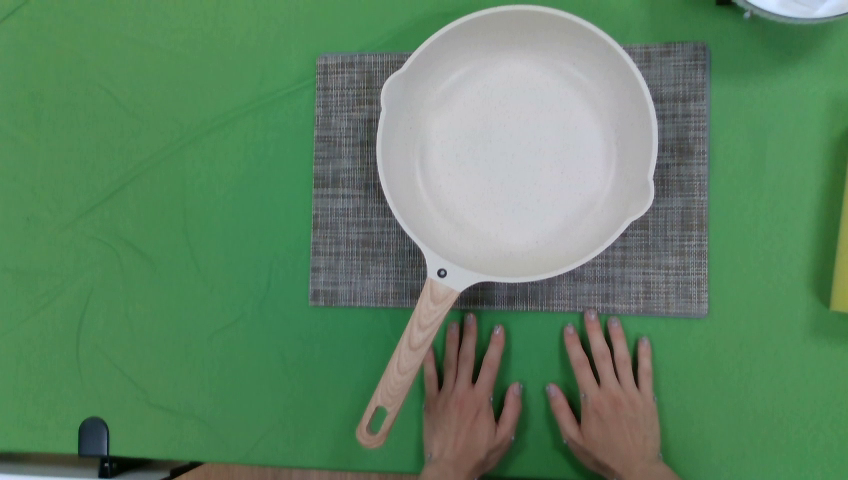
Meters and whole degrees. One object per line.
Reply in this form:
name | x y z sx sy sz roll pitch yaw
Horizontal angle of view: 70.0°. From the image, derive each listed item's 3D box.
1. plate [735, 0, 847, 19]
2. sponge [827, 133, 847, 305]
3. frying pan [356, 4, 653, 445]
plate | 0.374 -0.319 0.606 0.207 0.039 0.207 0 87 7
sponge | 0.494 -0.028 0.610 0.118 0.061 0.206 7 88 9
frying pan | 0.046 -0.011 0.648 0.306 0.103 0.487 26 82 10
